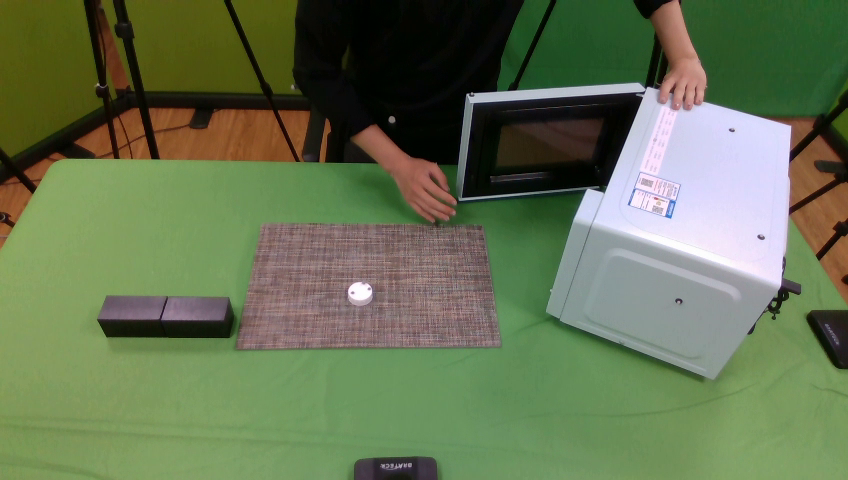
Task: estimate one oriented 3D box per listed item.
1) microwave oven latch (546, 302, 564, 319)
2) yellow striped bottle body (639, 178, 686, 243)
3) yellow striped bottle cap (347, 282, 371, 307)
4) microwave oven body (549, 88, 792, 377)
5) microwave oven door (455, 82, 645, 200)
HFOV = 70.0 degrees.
[{"bbox_3d":[0.242,0.102,1.081,0.030,0.029,0.079,21,48,17],"label":"microwave oven latch"},{"bbox_3d":[0.445,-0.057,1.126,0.063,0.121,0.062,-1,45,1],"label":"yellow striped bottle body"},{"bbox_3d":[-0.117,0.098,1.093,0.044,0.019,0.044,3,45,-3],"label":"yellow striped bottle cap"},{"bbox_3d":[0.455,-0.028,1.088,0.325,0.261,0.440,20,47,16],"label":"microwave oven body"},{"bbox_3d":[0.248,-0.198,1.229,0.356,0.245,0.039,-6,47,-10],"label":"microwave oven door"}]
